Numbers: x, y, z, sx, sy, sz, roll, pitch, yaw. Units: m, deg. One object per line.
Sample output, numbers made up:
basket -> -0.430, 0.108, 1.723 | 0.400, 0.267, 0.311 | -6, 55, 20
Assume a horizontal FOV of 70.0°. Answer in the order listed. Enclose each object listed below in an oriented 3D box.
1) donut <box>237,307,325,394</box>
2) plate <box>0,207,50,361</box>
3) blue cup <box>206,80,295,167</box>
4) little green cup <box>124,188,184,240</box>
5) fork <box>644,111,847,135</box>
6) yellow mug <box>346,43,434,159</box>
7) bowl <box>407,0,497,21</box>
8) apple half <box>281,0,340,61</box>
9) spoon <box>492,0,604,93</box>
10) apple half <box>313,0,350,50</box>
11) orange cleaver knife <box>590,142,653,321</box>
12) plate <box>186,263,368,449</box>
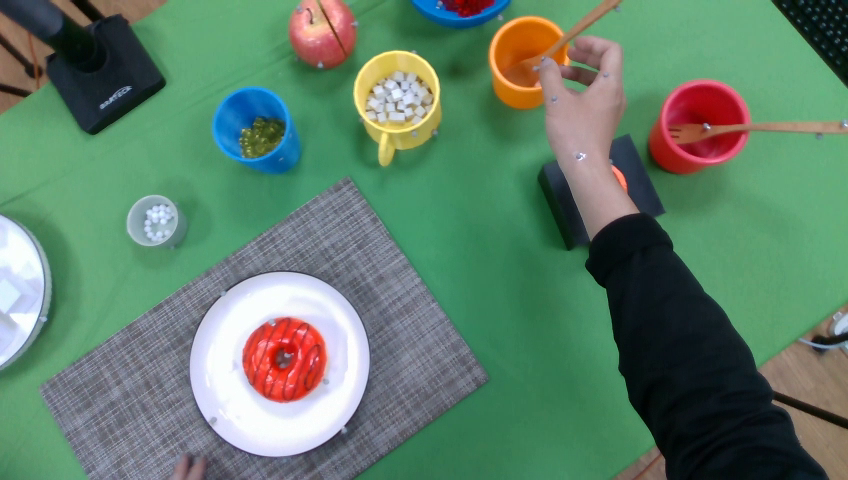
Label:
donut -> -0.162, 0.125, 0.688 | 0.099, 0.048, 0.099 | 0, 84, 4
plate -> -0.548, 0.057, 0.730 | 0.207, 0.039, 0.207 | 0, 82, 3
blue cup -> -0.193, -0.127, 0.707 | 0.092, 0.100, 0.092 | 0, 83, 1
little green cup -> -0.323, -0.028, 0.731 | 0.061, 0.039, 0.061 | 0, 82, 3
fork -> 0.341, -0.130, 0.661 | 0.206, 0.019, 0.028 | 7, 66, 46
yellow mug -> -0.042, -0.160, 0.722 | 0.100, 0.064, 0.130 | 13, 84, 4
bowl -> 0.035, -0.327, 0.735 | 0.151, 0.077, 0.151 | 0, 83, 3
apple half -> -0.143, -0.252, 0.736 | 0.053, 0.075, 0.080 | -30, 85, 2
spoon -> 0.148, -0.231, 0.681 | 0.022, 0.194, 0.041 | -16, 77, -44
apple half -> -0.108, -0.273, 0.736 | 0.033, 0.081, 0.081 | -29, 81, -1
orange cleaver knife -> 0.220, -0.008, 0.682 | 0.012, 0.076, 0.213 | -20, 111, 2
plate -> -0.166, 0.130, 0.699 | 0.209, 0.038, 0.208 | 0, 82, 3
